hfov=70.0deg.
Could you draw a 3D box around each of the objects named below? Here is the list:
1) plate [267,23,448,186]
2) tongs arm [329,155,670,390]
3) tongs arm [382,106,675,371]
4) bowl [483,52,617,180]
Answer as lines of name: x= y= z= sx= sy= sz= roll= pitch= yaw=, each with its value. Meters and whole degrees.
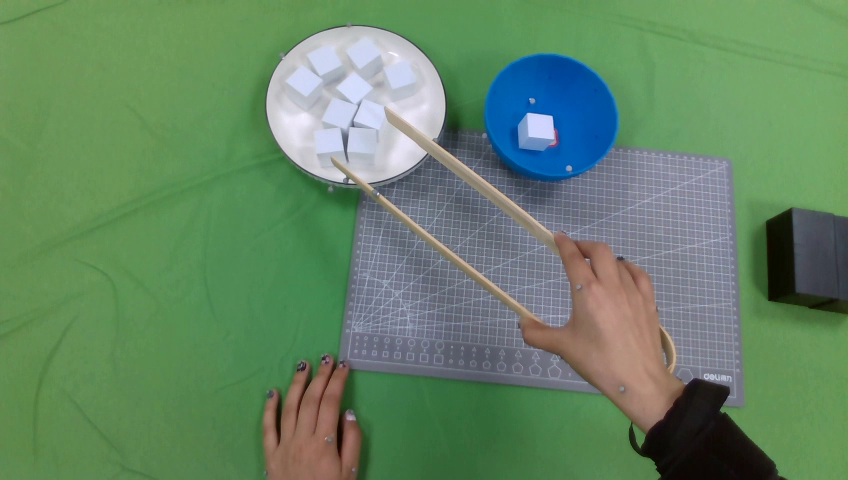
plate: x=-0.076 y=-0.156 z=0.713 sx=0.208 sy=0.039 sz=0.206 roll=1 pitch=74 yaw=-3
tongs arm: x=0.052 y=0.014 z=0.573 sx=0.381 sy=0.027 sz=0.050 roll=40 pitch=76 yaw=23
tongs arm: x=0.084 y=-0.018 z=0.582 sx=0.028 sy=0.028 sz=0.384 roll=-40 pitch=66 yaw=-15
bowl: x=0.137 y=-0.130 z=0.701 sx=0.151 sy=0.077 sz=0.150 roll=1 pitch=74 yaw=-4
